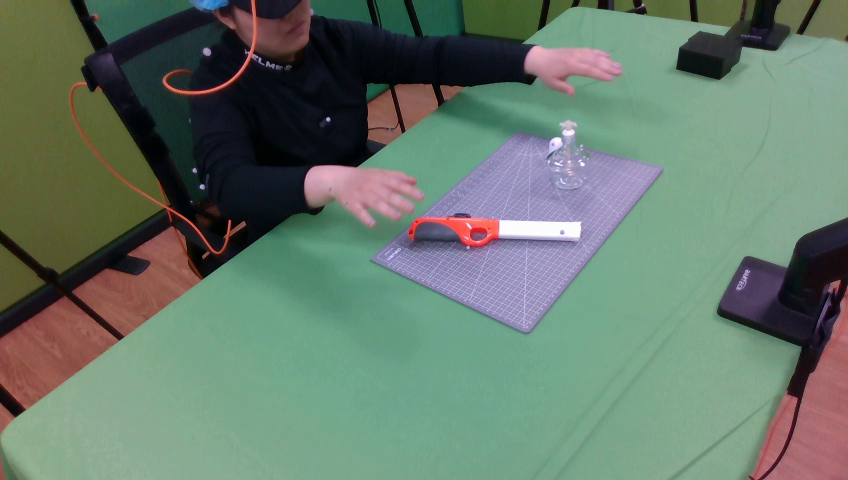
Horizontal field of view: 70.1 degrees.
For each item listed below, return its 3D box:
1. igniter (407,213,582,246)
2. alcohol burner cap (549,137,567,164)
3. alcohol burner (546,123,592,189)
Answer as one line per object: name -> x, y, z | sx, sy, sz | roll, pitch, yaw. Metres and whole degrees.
igniter -> 0.110, -0.016, 0.969 | 0.276, 0.025, 0.057 | 1, 64, 9
alcohol burner cap -> 0.247, -0.166, 1.114 | 0.034, 0.048, 0.033 | -6, 40, 6
alcohol burner -> 0.248, -0.147, 1.034 | 0.078, 0.120, 0.077 | -7, 41, 6
